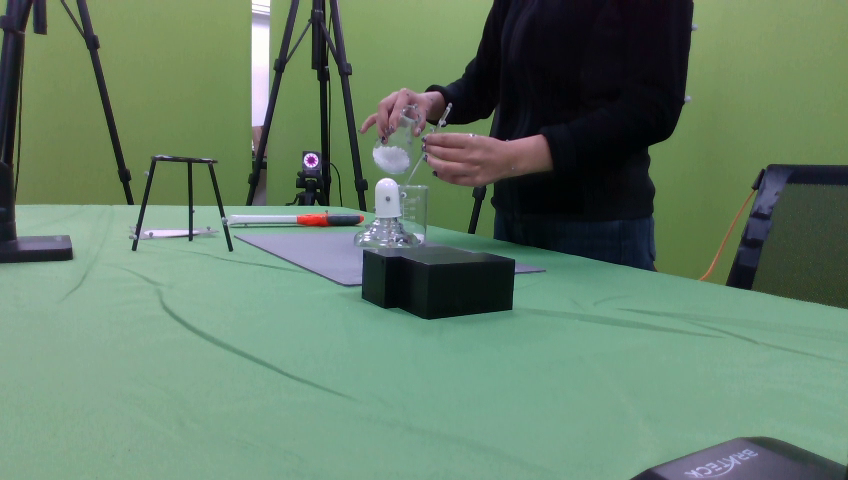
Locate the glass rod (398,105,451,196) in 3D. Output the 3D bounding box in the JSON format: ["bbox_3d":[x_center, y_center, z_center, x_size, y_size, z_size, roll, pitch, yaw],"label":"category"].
[{"bbox_3d":[-0.003,-0.136,0.957,0.008,0.199,0.008,18,43,-17],"label":"glass rod"}]

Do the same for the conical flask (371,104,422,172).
[{"bbox_3d":[-0.040,-0.178,1.039,0.076,0.075,0.121,-1,-32,-24],"label":"conical flask"}]

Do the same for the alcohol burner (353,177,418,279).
[{"bbox_3d":[-0.044,-0.014,0.710,0.078,0.119,0.078,4,9,0],"label":"alcohol burner"}]

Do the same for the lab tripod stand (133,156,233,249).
[{"bbox_3d":[-0.342,-0.054,0.878,0.148,0.131,0.148,4,6,0],"label":"lab tripod stand"}]

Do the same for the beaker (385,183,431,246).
[{"bbox_3d":[-0.031,-0.043,1.000,0.084,0.100,0.074,4,7,15],"label":"beaker"}]

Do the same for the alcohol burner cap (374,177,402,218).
[{"bbox_3d":[-0.044,-0.049,0.704,0.034,0.048,0.034,-4,9,1],"label":"alcohol burner cap"}]

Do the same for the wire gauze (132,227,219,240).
[{"bbox_3d":[-0.421,-0.014,1.024,0.122,0.011,0.124,-2,7,-34],"label":"wire gauze"}]

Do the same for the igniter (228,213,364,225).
[{"bbox_3d":[-0.252,-0.043,1.227,0.278,0.025,0.057,-2,-2,-32],"label":"igniter"}]
